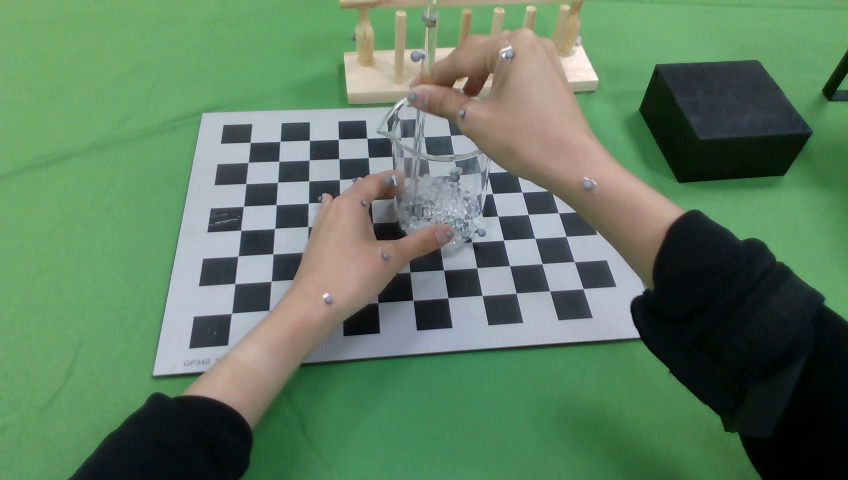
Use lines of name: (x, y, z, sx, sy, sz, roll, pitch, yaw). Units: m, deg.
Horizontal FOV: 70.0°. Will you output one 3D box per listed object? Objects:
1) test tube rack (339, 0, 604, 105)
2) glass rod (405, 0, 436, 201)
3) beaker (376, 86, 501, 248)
test tube rack: (0.045, -0.188, 0.570, 0.243, 0.086, 0.066, -5, 51, -7)
glass rod: (-0.004, -0.086, 0.401, 0.008, 0.201, 0.008, 3, 59, -4)
beaker: (0.009, -0.048, 0.441, 0.084, 0.101, 0.073, -3, 51, -4)
